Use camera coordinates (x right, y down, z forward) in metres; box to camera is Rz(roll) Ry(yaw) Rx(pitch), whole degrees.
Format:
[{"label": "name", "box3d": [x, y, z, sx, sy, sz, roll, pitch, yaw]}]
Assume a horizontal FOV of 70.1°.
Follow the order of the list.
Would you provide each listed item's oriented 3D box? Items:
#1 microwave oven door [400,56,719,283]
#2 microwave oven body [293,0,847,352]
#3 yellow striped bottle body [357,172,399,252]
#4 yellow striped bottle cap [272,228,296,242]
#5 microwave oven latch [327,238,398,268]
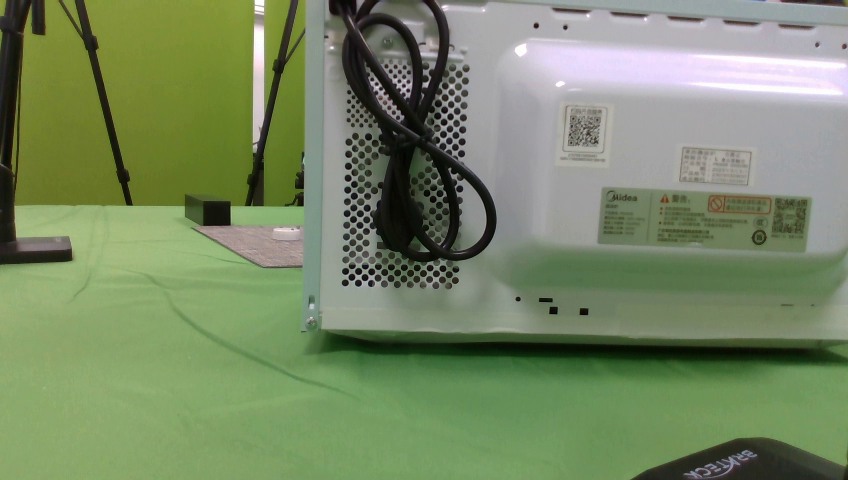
[{"label": "microwave oven door", "box3d": [0.155, -0.078, 0.698, 0.356, 0.243, 0.039, 2, 8, -5]}, {"label": "microwave oven body", "box3d": [0.122, -0.055, 0.551, 0.442, 0.260, 0.325, 3, 7, -5]}, {"label": "yellow striped bottle body", "box3d": [-0.071, -0.044, 0.933, 0.063, 0.120, 0.063, 2, 8, 0]}, {"label": "yellow striped bottle cap", "box3d": [-0.232, -0.008, 1.012, 0.044, 0.018, 0.044, 4, 8, 0]}, {"label": "microwave oven latch", "box3d": [-0.070, 0.015, 0.694, 0.079, 0.029, 0.030, 3, 7, -3]}]
